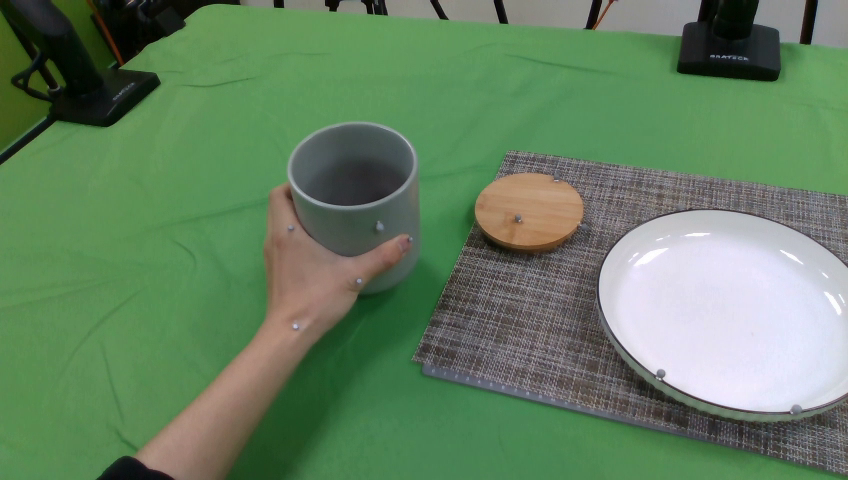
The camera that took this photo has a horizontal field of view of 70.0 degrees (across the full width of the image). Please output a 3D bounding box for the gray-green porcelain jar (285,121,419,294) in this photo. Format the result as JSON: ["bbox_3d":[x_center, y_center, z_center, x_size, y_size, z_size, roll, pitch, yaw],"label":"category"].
[{"bbox_3d":[-0.058,-0.022,0.532,0.106,0.127,0.105,0,50,1],"label":"gray-green porcelain jar"}]

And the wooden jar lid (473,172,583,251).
[{"bbox_3d":[0.104,-0.028,0.610,0.108,0.021,0.107,-3,45,4],"label":"wooden jar lid"}]

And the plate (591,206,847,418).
[{"bbox_3d":[0.243,0.055,0.496,0.207,0.039,0.205,-4,46,5],"label":"plate"}]
